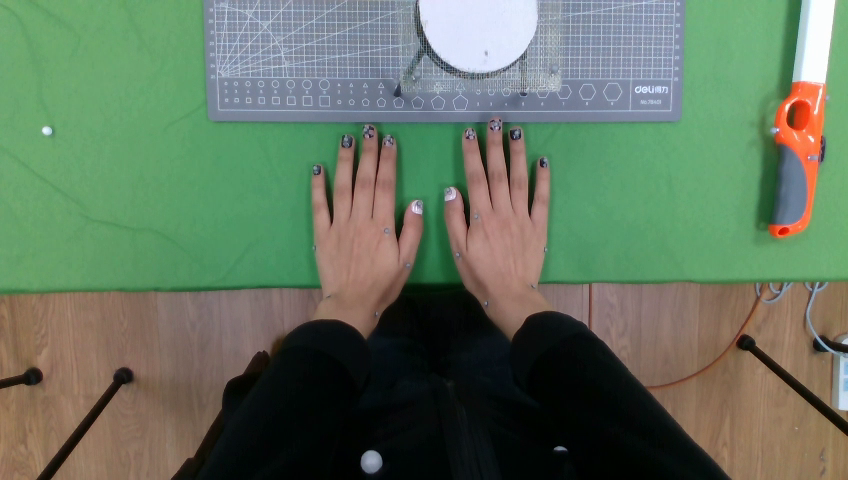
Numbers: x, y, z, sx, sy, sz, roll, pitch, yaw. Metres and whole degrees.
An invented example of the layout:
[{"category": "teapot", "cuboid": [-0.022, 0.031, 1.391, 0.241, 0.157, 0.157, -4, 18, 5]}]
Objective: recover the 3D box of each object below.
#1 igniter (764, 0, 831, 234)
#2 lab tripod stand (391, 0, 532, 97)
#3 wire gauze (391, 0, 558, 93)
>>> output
[{"category": "igniter", "cuboid": [0.363, -0.142, 0.583, 0.057, 0.025, 0.277, 2, 96, -13]}, {"category": "lab tripod stand", "cuboid": [0.031, -0.173, 0.507, 0.148, 0.131, 0.148, 0, 95, -1]}, {"category": "wire gauze", "cuboid": [0.036, -0.169, 0.441, 0.125, 0.011, 0.121, -2, 95, -3]}]
